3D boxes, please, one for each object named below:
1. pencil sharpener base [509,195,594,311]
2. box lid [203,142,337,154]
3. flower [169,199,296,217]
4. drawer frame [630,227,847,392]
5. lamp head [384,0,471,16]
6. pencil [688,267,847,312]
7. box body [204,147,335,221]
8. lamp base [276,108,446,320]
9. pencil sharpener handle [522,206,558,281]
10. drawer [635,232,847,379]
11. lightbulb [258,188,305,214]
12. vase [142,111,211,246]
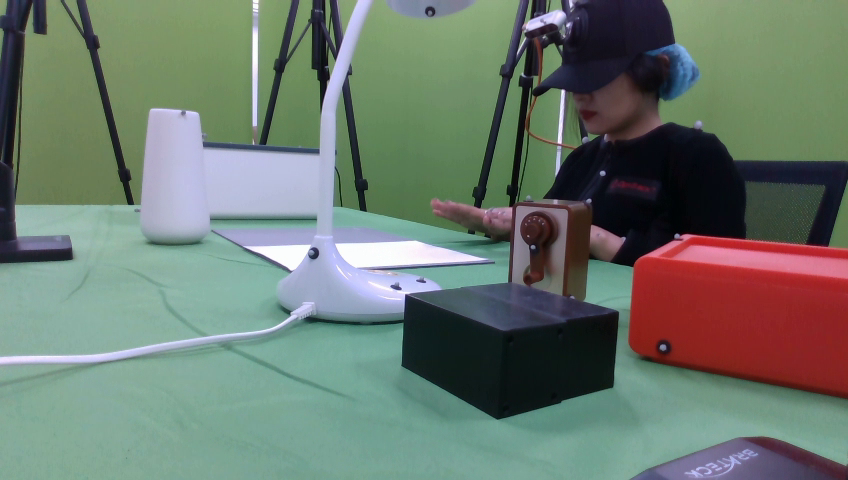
[{"bbox_3d":[0.126,0.011,0.601,0.061,0.107,0.077,7,9,30],"label":"pencil sharpener base"},{"bbox_3d":[-0.405,-0.209,1.377,0.373,0.015,0.262,-1,9,-29],"label":"box lid"},{"bbox_3d":[-0.423,-0.069,1.399,0.044,0.038,0.363,2,2,31],"label":"flower"},{"bbox_3d":[0.292,0.043,0.484,0.201,0.082,0.214,7,9,29],"label":"drawer frame"},{"bbox_3d":[-0.001,-0.301,0.599,0.112,0.112,0.123,4,-30,14],"label":"lamp head"},{"bbox_3d":[0.308,0.044,0.515,0.194,0.012,0.012,13,5,-12],"label":"pencil"},{"bbox_3d":[-0.411,-0.135,1.386,0.366,0.160,0.253,-2,9,-29],"label":"box body"},{"bbox_3d":[-0.061,-0.027,0.556,0.160,0.180,0.180,4,10,20],"label":"lamp base"},{"bbox_3d":[0.102,0.003,0.555,0.036,0.067,0.031,0,5,31],"label":"pencil sharpener handle"},{"bbox_3d":[0.292,0.045,0.488,0.193,0.073,0.213,7,9,30],"label":"drawer"},{"bbox_3d":[-0.325,-0.082,1.382,0.108,0.059,0.059,-15,9,-6],"label":"lightbulb"},{"bbox_3d":[-0.378,-0.093,0.920,0.098,0.200,0.098,2,9,0],"label":"vase"}]
